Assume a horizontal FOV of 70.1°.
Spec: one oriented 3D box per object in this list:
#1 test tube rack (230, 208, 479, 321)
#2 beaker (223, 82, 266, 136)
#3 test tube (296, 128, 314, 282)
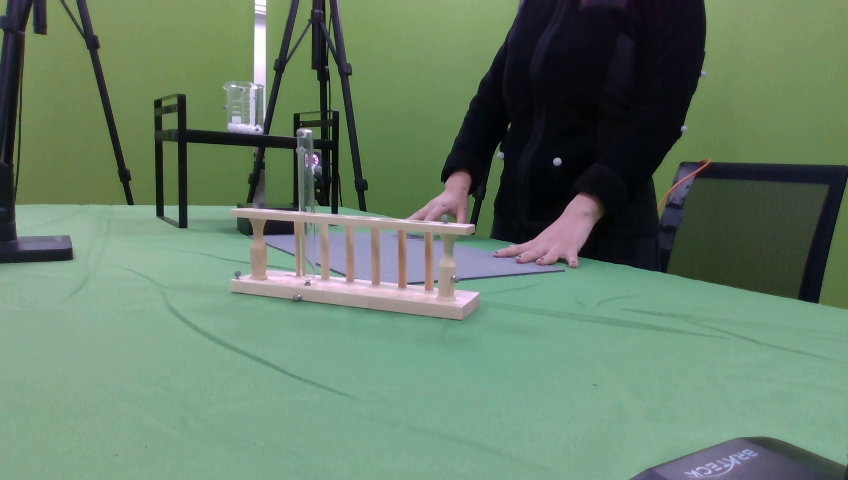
[{"bbox_3d":[-0.069,0.017,0.598,0.242,0.085,0.067,5,8,18],"label":"test tube rack"},{"bbox_3d":[-0.362,-0.262,1.214,0.084,0.100,0.074,2,7,-1],"label":"beaker"},{"bbox_3d":[-0.116,-0.033,0.593,0.017,0.150,0.017,0,6,0],"label":"test tube"}]
